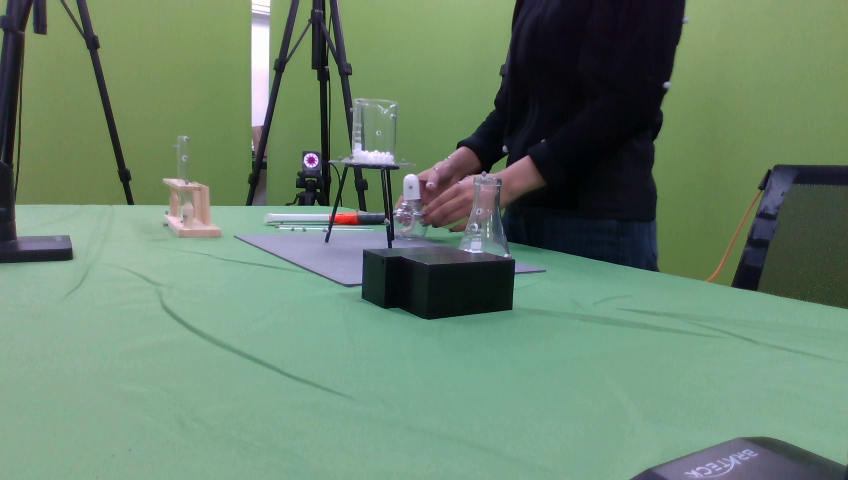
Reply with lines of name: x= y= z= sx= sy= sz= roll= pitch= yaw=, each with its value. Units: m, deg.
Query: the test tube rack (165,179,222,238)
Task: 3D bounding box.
test tube rack: x=-0.423 y=-0.062 z=1.098 sx=0.067 sy=0.085 sz=0.241 roll=-2 pitch=9 yaw=-28

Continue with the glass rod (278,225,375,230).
glass rod: x=-0.186 y=-0.024 z=1.178 sx=0.201 sy=0.008 sz=0.008 roll=1 pitch=6 yaw=-31

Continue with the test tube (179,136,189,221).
test tube: x=-0.425 y=-0.108 z=1.070 sx=0.017 sy=0.150 sz=0.017 roll=4 pitch=9 yaw=0

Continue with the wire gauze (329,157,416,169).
wire gauze: x=-0.079 y=-0.125 z=0.972 sx=0.121 sy=0.011 sz=0.125 roll=6 pitch=6 yaw=5

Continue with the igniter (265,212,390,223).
igniter: x=-0.196 y=-0.048 z=1.286 sx=0.278 sy=0.025 sz=0.057 roll=-2 pitch=-2 yaw=-30

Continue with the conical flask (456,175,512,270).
conical flask: x=0.082 y=-0.025 z=0.801 sx=0.075 sy=0.122 sz=0.075 roll=2 pitch=7 yaw=0

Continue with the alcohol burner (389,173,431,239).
alcohol burner: x=-0.026 y=-0.061 z=1.083 sx=0.078 sy=0.119 sz=0.078 roll=3 pitch=9 yaw=0

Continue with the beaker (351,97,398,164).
beaker: x=-0.078 y=-0.172 z=0.962 sx=0.074 sy=0.100 sz=0.084 roll=6 pitch=8 yaw=19

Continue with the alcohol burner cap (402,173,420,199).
alcohol burner cap: x=-0.025 y=-0.096 z=1.078 sx=0.034 sy=0.048 sz=0.034 roll=-3 pitch=9 yaw=1

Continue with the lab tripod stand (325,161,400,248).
lab tripod stand: x=-0.083 y=-0.059 z=0.977 sx=0.148 sy=0.131 sz=0.148 roll=4 pitch=8 yaw=0
